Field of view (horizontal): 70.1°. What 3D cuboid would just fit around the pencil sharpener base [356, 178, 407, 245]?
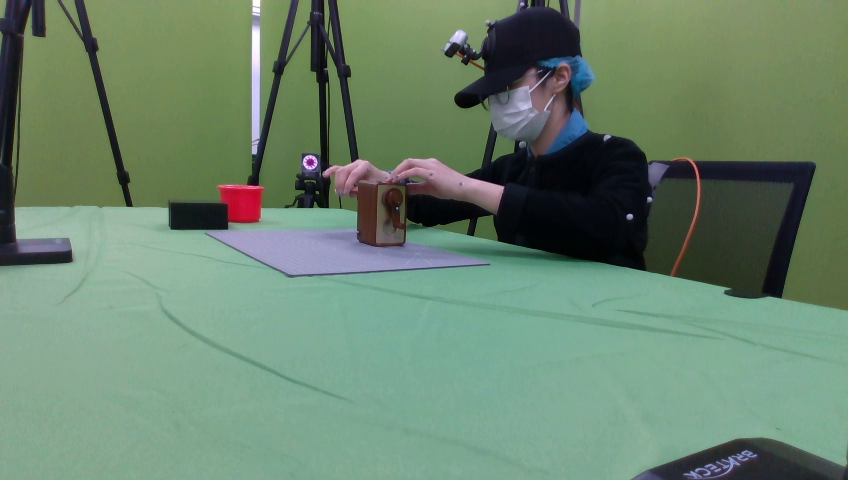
[{"bbox_3d":[-0.071,-0.049,1.018,0.062,0.107,0.076,-2,9,-32],"label":"pencil sharpener base"}]

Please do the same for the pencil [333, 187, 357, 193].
[{"bbox_3d":[-0.125,-0.090,1.108,0.012,0.012,0.193,-2,7,-31],"label":"pencil"}]

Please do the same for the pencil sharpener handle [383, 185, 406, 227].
[{"bbox_3d":[-0.042,-0.055,0.975,0.036,0.068,0.030,-10,13,-31],"label":"pencil sharpener handle"}]
